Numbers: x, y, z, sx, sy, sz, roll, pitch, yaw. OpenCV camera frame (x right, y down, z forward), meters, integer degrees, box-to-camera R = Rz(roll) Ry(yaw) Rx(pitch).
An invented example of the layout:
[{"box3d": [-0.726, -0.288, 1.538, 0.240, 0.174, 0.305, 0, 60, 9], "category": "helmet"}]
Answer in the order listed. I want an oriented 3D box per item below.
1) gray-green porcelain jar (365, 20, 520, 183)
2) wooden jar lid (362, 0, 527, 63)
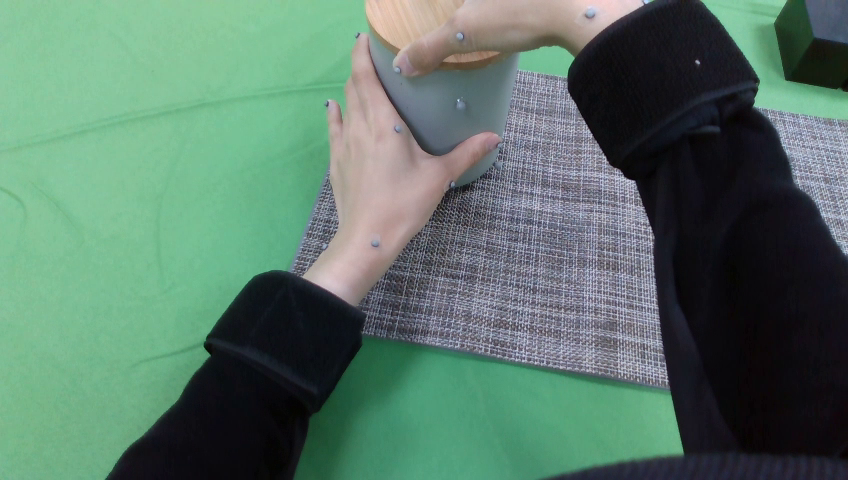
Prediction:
[{"box3d": [0.010, -0.114, 0.451, 0.106, 0.127, 0.105, 2, 54, -3], "category": "gray-green porcelain jar"}, {"box3d": [0.013, -0.151, 0.401, 0.108, 0.021, 0.107, 2, 57, -2], "category": "wooden jar lid"}]
